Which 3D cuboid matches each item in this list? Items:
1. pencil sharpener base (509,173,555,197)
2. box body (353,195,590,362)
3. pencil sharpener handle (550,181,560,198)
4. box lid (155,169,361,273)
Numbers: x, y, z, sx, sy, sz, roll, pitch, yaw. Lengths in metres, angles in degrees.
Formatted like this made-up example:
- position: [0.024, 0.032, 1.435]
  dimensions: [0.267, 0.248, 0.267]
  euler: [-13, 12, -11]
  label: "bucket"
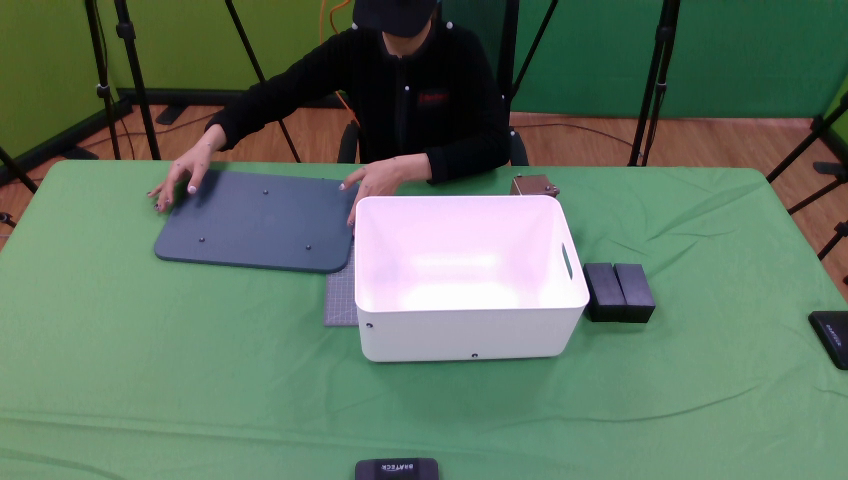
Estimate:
- position: [0.216, -0.075, 1.224]
  dimensions: [0.077, 0.107, 0.061]
  euler: [-6, 46, -10]
  label: "pencil sharpener base"
- position: [0.065, 0.066, 1.040]
  dimensions: [0.364, 0.161, 0.252]
  euler: [-1, 46, -5]
  label: "box body"
- position: [0.267, -0.089, 1.224]
  dimensions: [0.031, 0.068, 0.035]
  euler: [-6, 44, -10]
  label: "pencil sharpener handle"
- position: [-0.321, -0.044, 1.225]
  dimensions: [0.371, 0.015, 0.261]
  euler: [4, 46, 1]
  label: "box lid"
